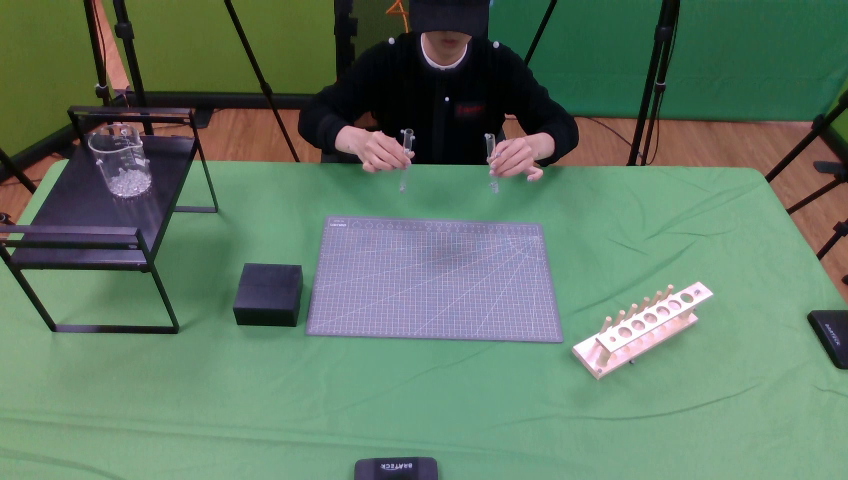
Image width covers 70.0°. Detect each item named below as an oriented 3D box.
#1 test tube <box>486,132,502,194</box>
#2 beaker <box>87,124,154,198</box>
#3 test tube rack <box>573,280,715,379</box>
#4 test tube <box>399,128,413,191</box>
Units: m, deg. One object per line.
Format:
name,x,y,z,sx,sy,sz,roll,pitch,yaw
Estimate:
test tube,0.128,-0.137,1.106,0.017,0.151,0.017,-7,52,9
beaker,-0.482,-0.124,0.978,0.084,0.101,0.073,9,46,4
test tube rack,0.378,0.140,1.038,0.242,0.085,0.066,-22,51,-23
test tube,-0.034,-0.144,1.111,0.017,0.151,0.017,4,50,-5
